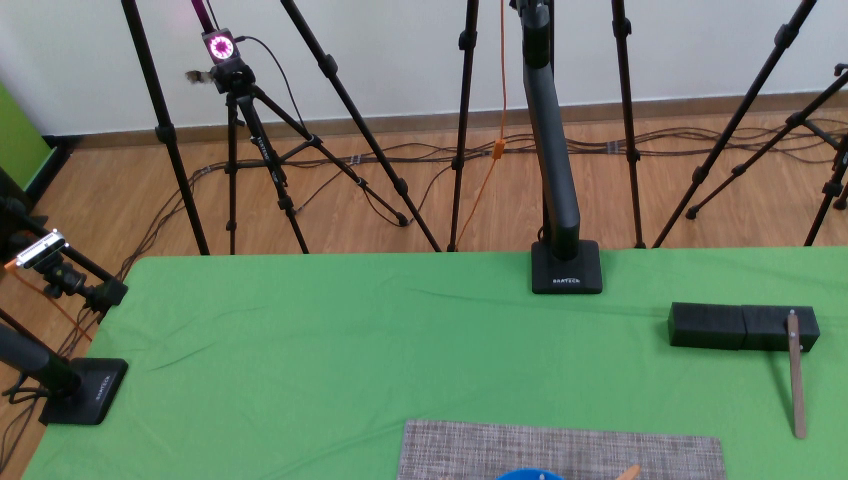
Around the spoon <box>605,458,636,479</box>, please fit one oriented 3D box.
[{"bbox_3d":[0.187,0.334,0.742,0.194,0.022,0.041,-41,57,0],"label":"spoon"}]

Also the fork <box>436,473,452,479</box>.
[{"bbox_3d":[0.021,0.410,0.793,0.028,0.019,0.205,4,48,2],"label":"fork"}]

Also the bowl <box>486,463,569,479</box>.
[{"bbox_3d":[0.133,0.370,0.767,0.151,0.077,0.150,-5,48,6],"label":"bowl"}]

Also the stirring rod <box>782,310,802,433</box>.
[{"bbox_3d":[0.527,0.186,0.868,0.014,0.006,0.175,4,70,9],"label":"stirring rod"}]
